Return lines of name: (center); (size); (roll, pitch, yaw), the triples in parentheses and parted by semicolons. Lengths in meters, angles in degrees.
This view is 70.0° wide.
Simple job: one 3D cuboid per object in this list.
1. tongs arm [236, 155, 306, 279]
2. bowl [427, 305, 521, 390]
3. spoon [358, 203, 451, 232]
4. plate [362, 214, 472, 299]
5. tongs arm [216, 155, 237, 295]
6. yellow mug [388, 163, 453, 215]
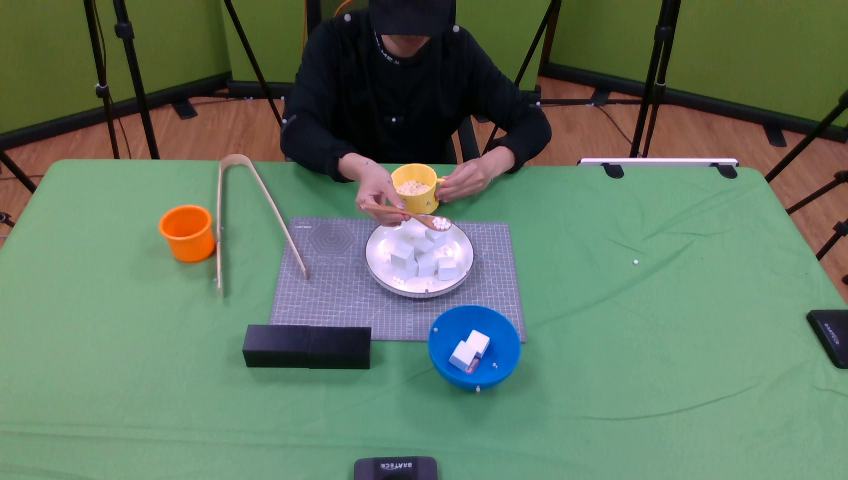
tongs arm: (-0.312, -0.058, 1.224); (0.028, 0.028, 0.385); (-22, 50, -19)
bowl: (0.077, 0.188, 0.985); (0.151, 0.077, 0.150); (3, 46, -3)
spoon: (-0.032, -0.045, 1.080); (0.195, 0.022, 0.041); (15, 35, -35)
plate: (-0.014, 0.034, 1.149); (0.208, 0.039, 0.206); (3, 46, -2)
tongs arm: (-0.388, -0.043, 1.201); (0.051, 0.026, 0.382); (-9, 46, -12)
yellow mug: (-0.006, -0.104, 1.256); (0.131, 0.064, 0.099); (-3, 48, 2)
